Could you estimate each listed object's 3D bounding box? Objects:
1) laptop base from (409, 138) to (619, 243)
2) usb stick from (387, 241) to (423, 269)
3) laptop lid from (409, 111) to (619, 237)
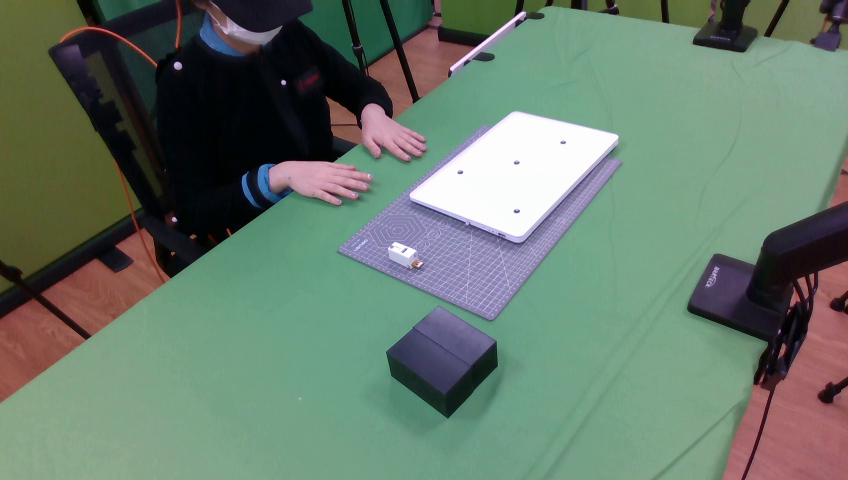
[{"bbox_3d":[0.170,-0.126,1.096,0.233,0.023,0.355,21,47,34],"label":"laptop base"},{"bbox_3d":[-0.028,0.026,0.934,0.059,0.027,0.021,25,49,29],"label":"usb stick"},{"bbox_3d":[0.167,-0.136,1.089,0.239,0.013,0.358,24,49,34],"label":"laptop lid"}]
